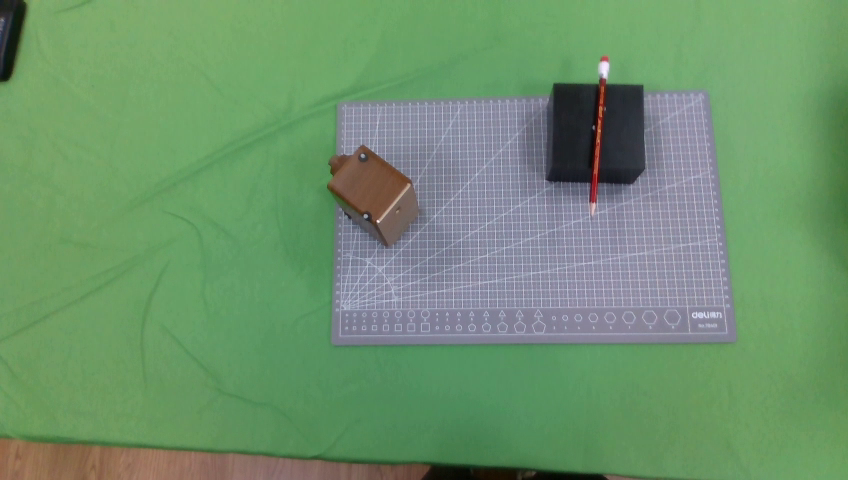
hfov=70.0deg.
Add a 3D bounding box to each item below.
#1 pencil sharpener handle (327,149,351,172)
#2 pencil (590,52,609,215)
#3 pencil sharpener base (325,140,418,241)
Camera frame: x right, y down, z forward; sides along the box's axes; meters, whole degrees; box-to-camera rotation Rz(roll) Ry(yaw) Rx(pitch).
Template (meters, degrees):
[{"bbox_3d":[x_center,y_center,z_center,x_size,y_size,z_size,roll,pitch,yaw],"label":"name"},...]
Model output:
[{"bbox_3d":[-0.095,-0.088,0.664,0.030,0.068,0.036,38,90,11],"label":"pencil sharpener handle"},{"bbox_3d":[0.192,-0.119,0.667,0.012,0.012,0.193,7,77,5],"label":"pencil"},{"bbox_3d":[-0.056,-0.053,0.667,0.076,0.107,0.061,38,82,11],"label":"pencil sharpener base"}]
